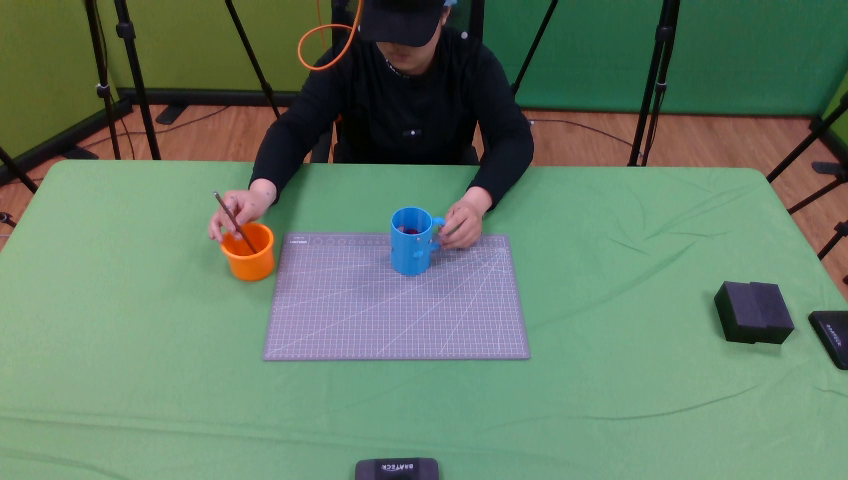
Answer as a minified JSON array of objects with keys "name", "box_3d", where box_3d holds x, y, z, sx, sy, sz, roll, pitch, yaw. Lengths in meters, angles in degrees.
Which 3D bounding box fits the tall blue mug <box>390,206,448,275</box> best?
[{"name":"tall blue mug","box_3d":[-0.016,-0.006,1.140,0.077,0.108,0.107,30,51,24]}]

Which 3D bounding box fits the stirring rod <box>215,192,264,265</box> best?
[{"name":"stirring rod","box_3d":[-0.326,-0.018,1.078,0.006,0.177,0.014,-28,42,-7]}]
